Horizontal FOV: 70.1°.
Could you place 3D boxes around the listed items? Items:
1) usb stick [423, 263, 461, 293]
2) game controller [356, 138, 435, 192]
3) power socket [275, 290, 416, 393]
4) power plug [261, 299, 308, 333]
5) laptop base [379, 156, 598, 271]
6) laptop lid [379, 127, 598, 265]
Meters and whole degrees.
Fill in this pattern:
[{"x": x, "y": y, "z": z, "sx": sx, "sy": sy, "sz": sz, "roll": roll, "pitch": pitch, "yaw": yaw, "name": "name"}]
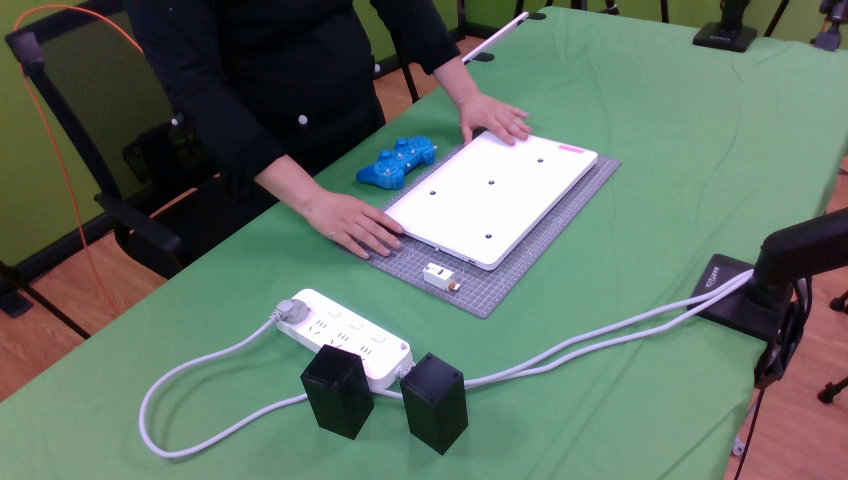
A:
[{"x": 0.028, "y": 0.058, "z": 0.889, "sx": 0.059, "sy": 0.027, "sz": 0.021, "roll": 25, "pitch": 48, "yaw": 29, "name": "usb stick"}, {"x": -0.049, "y": -0.149, "z": 1.136, "sx": 0.096, "sy": 0.052, "sz": 0.155, "roll": 27, "pitch": 51, "yaw": 28, "name": "game controller"}, {"x": -0.114, "y": 0.132, "z": 0.821, "sx": 0.225, "sy": 0.033, "sz": 0.072, "roll": 24, "pitch": 48, "yaw": 32, "name": "power socket"}, {"x": -0.193, "y": 0.109, "z": 0.830, "sx": 0.073, "sy": 0.053, "sz": 0.035, "roll": -35, "pitch": 48, "yaw": -23, "name": "power plug"}, {"x": 0.120, "y": -0.085, "z": 1.054, "sx": 0.233, "sy": 0.023, "sz": 0.355, "roll": 21, "pitch": 48, "yaw": 34, "name": "laptop base"}, {"x": 0.117, "y": -0.095, "z": 1.048, "sx": 0.239, "sy": 0.013, "sz": 0.358, "roll": 23, "pitch": 49, "yaw": 34, "name": "laptop lid"}]
